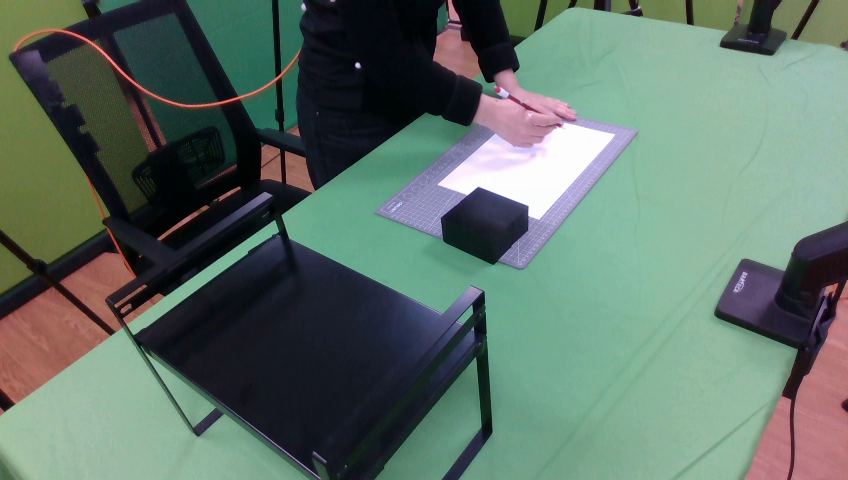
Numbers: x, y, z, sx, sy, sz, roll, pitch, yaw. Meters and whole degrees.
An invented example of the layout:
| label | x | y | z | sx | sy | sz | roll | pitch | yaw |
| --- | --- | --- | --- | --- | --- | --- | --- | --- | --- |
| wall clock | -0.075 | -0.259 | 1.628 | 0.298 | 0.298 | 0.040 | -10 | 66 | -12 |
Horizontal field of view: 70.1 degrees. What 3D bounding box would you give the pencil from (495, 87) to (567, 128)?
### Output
| label | x | y | z | sx | sy | sz | roll | pitch | yaw |
| --- | --- | --- | --- | --- | --- | --- | --- | --- | --- |
| pencil | 0.197 | -0.235 | 1.088 | 0.196 | 0.012 | 0.012 | 17 | 25 | -37 |
